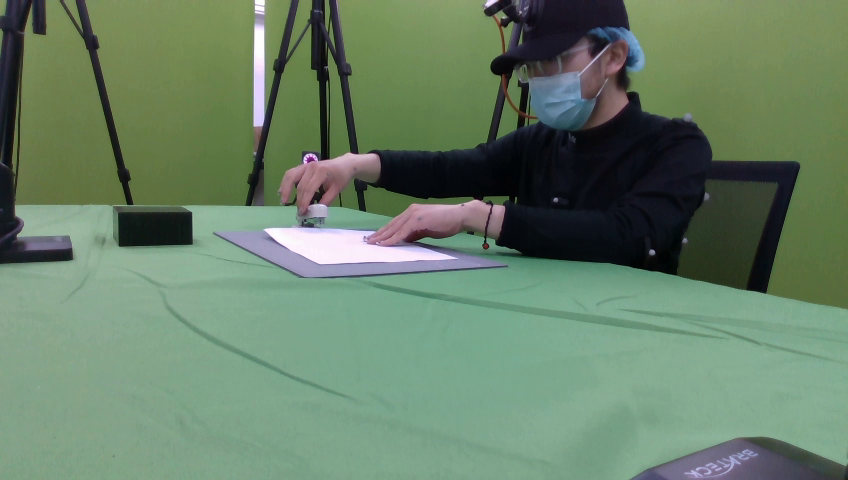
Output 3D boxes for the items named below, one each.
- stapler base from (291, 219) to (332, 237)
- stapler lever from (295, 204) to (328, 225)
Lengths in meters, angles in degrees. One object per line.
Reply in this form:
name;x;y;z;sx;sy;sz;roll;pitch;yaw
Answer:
stapler base;-0.207;-0.025;1.111;0.041;0.024;0.130;3;5;-30
stapler lever;-0.207;-0.050;1.109;0.027;0.040;0.117;3;5;-30
